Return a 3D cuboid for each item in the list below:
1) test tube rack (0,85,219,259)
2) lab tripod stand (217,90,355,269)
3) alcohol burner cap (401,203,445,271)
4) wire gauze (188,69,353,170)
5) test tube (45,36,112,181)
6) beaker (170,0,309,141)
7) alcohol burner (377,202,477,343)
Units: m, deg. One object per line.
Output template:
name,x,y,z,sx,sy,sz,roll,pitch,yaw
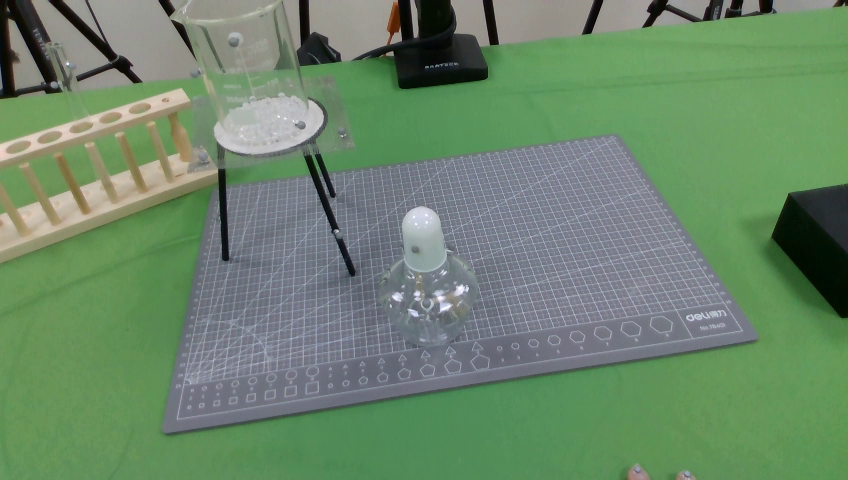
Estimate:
test tube rack,-0.343,-0.070,0.614,0.242,0.086,0.066,-25,46,-21
lab tripod stand,-0.122,-0.051,0.532,0.148,0.133,0.147,-3,45,3
alcohol burner cap,-0.003,-0.005,0.434,0.034,0.048,0.033,-3,45,4
wire gauze,-0.126,-0.098,0.488,0.125,0.011,0.120,-14,41,-5
test tube,-0.339,-0.125,0.598,0.017,0.151,0.017,0,36,1
beaker,-0.132,-0.132,0.452,0.084,0.101,0.073,-7,42,0
alcohol burner,0.001,0.021,0.458,0.078,0.120,0.077,-2,41,2
